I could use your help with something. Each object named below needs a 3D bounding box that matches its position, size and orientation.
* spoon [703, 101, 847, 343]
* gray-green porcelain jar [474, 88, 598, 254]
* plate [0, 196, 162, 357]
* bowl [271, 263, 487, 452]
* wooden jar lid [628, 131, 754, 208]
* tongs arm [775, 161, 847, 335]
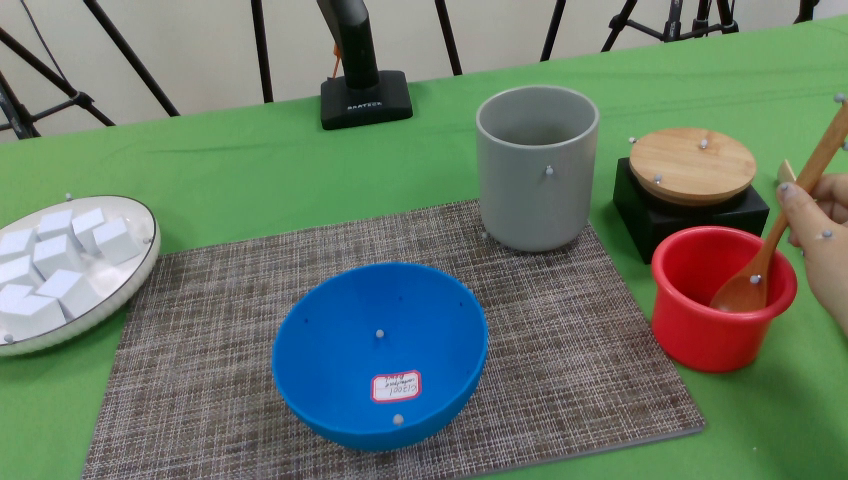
[{"bbox_3d":[0.255,-0.006,0.435,0.022,0.195,0.041,-4,34,-28],"label":"spoon"},{"bbox_3d":[0.102,-0.059,0.561,0.106,0.128,0.105,-4,42,4],"label":"gray-green porcelain jar"},{"bbox_3d":[-0.358,0.034,0.592,0.209,0.038,0.207,-5,41,5],"label":"plate"},{"bbox_3d":[-0.027,0.096,0.442,0.151,0.077,0.150,-4,41,4],"label":"bowl"},{"bbox_3d":[0.243,-0.065,0.558,0.108,0.021,0.107,-5,41,5],"label":"wooden jar lid"},{"bbox_3d":[0.346,0.057,0.477,0.028,0.028,0.384,1,42,7],"label":"tongs arm"}]
